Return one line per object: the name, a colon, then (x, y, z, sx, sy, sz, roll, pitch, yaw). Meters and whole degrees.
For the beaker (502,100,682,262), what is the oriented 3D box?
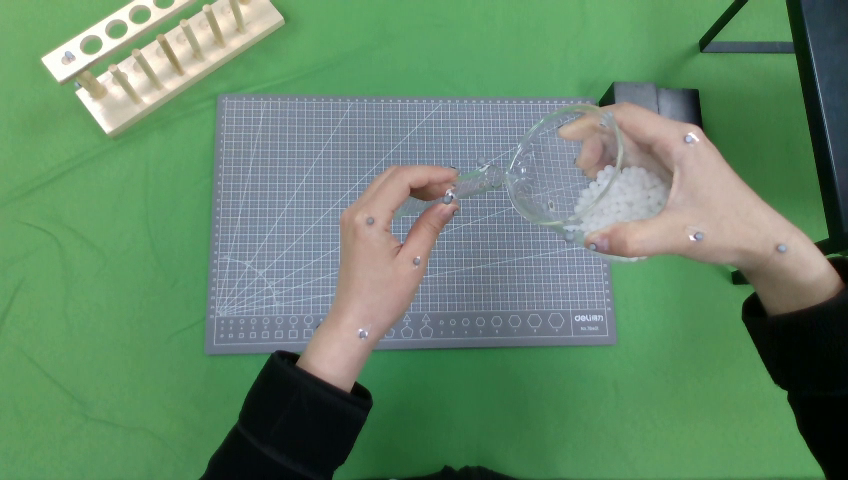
beaker: (0.108, -0.030, 0.380, 0.101, 0.083, 0.073, 23, 73, -43)

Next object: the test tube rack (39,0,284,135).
test tube rack: (-0.281, -0.226, 0.674, 0.242, 0.085, 0.066, -38, 82, -11)

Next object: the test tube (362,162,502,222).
test tube: (-0.001, -0.031, 0.435, 0.017, 0.149, 0.017, 7, 77, -37)
